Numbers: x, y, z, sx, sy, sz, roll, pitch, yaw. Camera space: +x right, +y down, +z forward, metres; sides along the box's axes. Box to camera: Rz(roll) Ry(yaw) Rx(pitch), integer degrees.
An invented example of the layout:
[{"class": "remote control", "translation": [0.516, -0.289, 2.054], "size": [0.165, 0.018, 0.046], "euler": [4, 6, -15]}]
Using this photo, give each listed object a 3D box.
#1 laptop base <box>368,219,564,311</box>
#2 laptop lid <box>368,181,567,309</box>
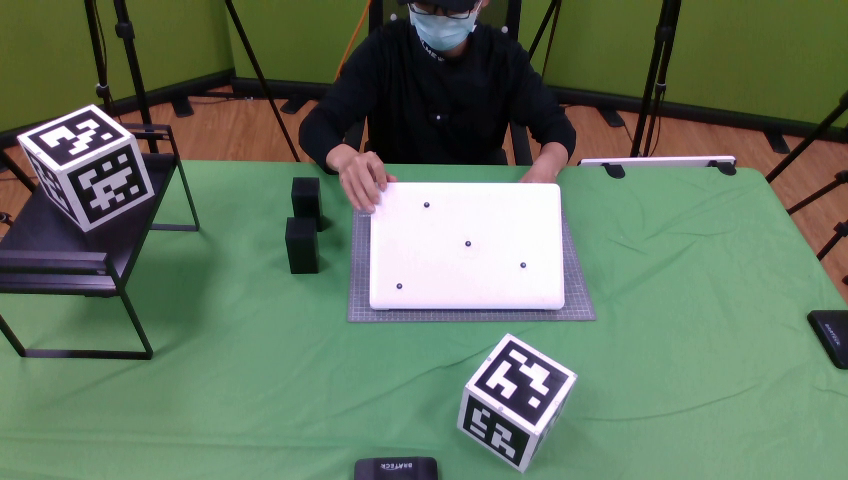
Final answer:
[{"class": "laptop base", "translation": [0.074, 0.044, 1.160], "size": [0.354, 0.023, 0.234], "euler": [0, 43, -3]}, {"class": "laptop lid", "translation": [0.078, 0.006, 1.091], "size": [0.357, 0.013, 0.241], "euler": [2, 77, -2]}]
